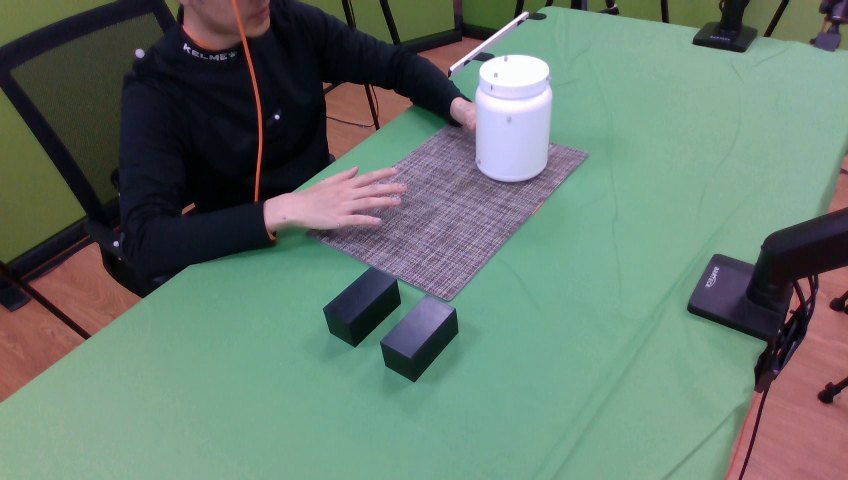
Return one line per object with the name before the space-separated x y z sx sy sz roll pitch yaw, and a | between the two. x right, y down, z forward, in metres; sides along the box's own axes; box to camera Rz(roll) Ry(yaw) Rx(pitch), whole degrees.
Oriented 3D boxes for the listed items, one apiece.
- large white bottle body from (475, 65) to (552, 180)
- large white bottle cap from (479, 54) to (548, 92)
large white bottle body | 0.153 -0.212 1.051 0.130 0.185 0.130 -3 40 3
large white bottle cap | 0.148 -0.277 0.997 0.115 0.018 0.114 -2 40 2
